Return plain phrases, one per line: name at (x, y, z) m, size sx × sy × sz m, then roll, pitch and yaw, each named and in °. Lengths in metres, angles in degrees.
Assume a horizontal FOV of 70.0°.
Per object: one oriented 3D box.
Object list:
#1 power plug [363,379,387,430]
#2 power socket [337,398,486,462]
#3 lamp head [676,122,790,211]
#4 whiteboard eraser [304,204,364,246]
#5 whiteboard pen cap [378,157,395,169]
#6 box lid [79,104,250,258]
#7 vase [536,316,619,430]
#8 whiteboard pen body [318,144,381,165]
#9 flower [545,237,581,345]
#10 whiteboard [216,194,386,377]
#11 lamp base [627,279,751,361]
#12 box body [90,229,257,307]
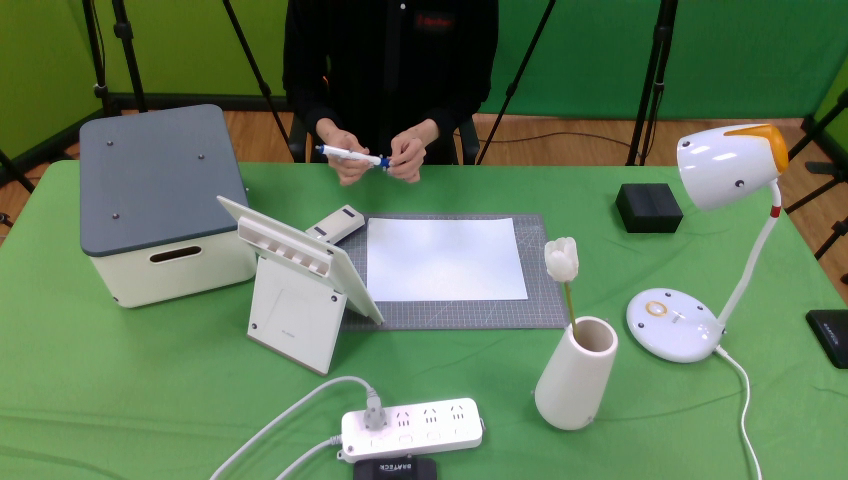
power plug at (-0.072, 0.252, 0.911) m, size 0.035 × 0.053 × 0.072 m, roll 3°, pitch 40°, yaw -1°
power socket at (-0.018, 0.285, 0.914) m, size 0.227 × 0.033 × 0.071 m, roll -4°, pitch 46°, yaw -8°
lamp head at (0.423, -0.104, 0.819) m, size 0.122 × 0.113 × 0.112 m, roll -13°, pitch 33°, yaw 40°
whiteboard eraser at (-0.175, -0.022, 1.188) m, size 0.055 × 0.042 × 0.112 m, roll 36°, pitch 53°, yaw 26°
whiteboard pen cap at (-0.071, -0.144, 1.122) m, size 0.033 × 0.018 × 0.018 m, roll 11°, pitch 40°, yaw -32°
box lid at (-0.467, -0.121, 1.075) m, size 0.264 × 0.015 × 0.369 m, roll -13°, pitch 49°, yaw -17°
vase at (0.229, 0.200, 0.901) m, size 0.098 × 0.201 × 0.097 m, roll 3°, pitch 46°, yaw -3°
whiteboard pen body at (-0.123, -0.151, 1.090) m, size 0.141 × 0.017 × 0.017 m, roll 8°, pitch 41°, yaw -30°
flower at (0.213, 0.137, 0.846) m, size 0.038 × 0.364 × 0.044 m, roll 22°, pitch 55°, yaw 40°
whiteboard at (-0.212, 0.093, 0.939) m, size 0.216 × 0.307 × 0.143 m, roll 24°, pitch 70°, yaw 17°
lamp base at (0.460, 0.100, 1.027) m, size 0.178 × 0.181 × 0.160 m, roll 27°, pitch 51°, yaw 17°
box body at (-0.471, -0.070, 1.131) m, size 0.254 × 0.161 × 0.361 m, roll -14°, pitch 49°, yaw -17°
